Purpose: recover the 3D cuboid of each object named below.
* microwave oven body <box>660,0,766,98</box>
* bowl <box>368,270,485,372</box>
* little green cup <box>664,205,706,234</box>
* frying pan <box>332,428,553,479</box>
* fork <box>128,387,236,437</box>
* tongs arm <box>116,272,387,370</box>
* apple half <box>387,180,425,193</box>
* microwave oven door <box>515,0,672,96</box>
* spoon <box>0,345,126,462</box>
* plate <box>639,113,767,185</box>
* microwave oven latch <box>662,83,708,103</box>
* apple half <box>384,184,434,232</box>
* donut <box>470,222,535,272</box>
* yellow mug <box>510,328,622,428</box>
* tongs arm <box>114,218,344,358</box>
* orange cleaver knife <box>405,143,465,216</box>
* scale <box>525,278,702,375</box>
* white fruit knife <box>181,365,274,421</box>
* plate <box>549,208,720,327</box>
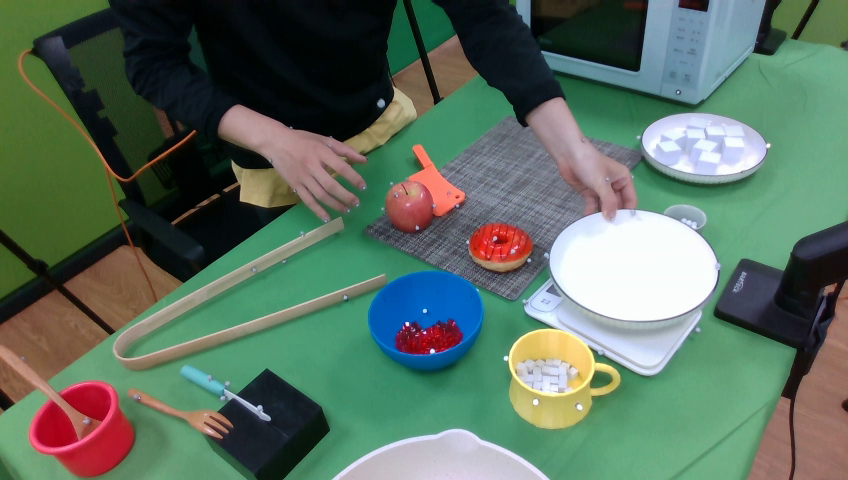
[{"bbox_3d":[0.472,-0.513,1.317,0.438,0.261,0.327,26,51,34],"label":"microwave oven body"},{"bbox_3d":[0.007,0.118,0.791,0.151,0.077,0.150,-5,40,4],"label":"bowl"},{"bbox_3d":[0.396,-0.021,0.927,0.061,0.039,0.061,-4,41,4],"label":"little green cup"},{"bbox_3d":[-0.089,0.306,0.564,0.487,0.103,0.306,10,41,7],"label":"frying pan"},{"bbox_3d":[-0.305,0.208,0.744,0.206,0.019,0.028,3,42,36],"label":"fork"},{"bbox_3d":[-0.237,0.114,0.869,0.389,0.028,0.028,-18,48,-12],"label":"tongs arm"},{"bbox_3d":[-0.028,-0.072,1.016,0.081,0.081,0.032,-10,44,-3],"label":"apple half"},{"bbox_3d":[0.343,-0.455,1.258,0.353,0.245,0.039,26,51,33],"label":"microwave oven door"},{"bbox_3d":[-0.434,0.192,0.720,0.194,0.021,0.042,47,53,-7],"label":"spoon"},{"bbox_3d":[0.489,-0.157,1.074,0.207,0.039,0.206,-4,40,4],"label":"plate"},{"bbox_3d":[0.517,-0.296,1.204,0.078,0.029,0.030,28,52,35],"label":"microwave oven latch"},{"bbox_3d":[-0.022,-0.046,0.987,0.081,0.075,0.053,-8,44,-5],"label":"apple half"},{"bbox_3d":[0.119,0.009,0.923,0.099,0.048,0.098,-4,38,4],"label":"donut"},{"bbox_3d":[0.169,0.164,0.722,0.130,0.064,0.099,0,40,8],"label":"yellow mug"},{"bbox_3d":[-0.280,0.067,0.927,0.386,0.026,0.050,-29,48,-23],"label":"tongs arm"},{"bbox_3d":[0.005,-0.113,1.102,0.077,0.012,0.209,-24,45,-9],"label":"orange cleaver knife"},{"bbox_3d":[0.254,0.091,0.821,0.199,0.032,0.149,28,51,35],"label":"scale"},{"bbox_3d":[-0.245,0.187,0.747,0.205,0.027,0.016,9,40,41],"label":"white fruit knife"},{"bbox_3d":[0.269,0.037,0.787,0.209,0.038,0.208,-5,41,5],"label":"plate"}]
